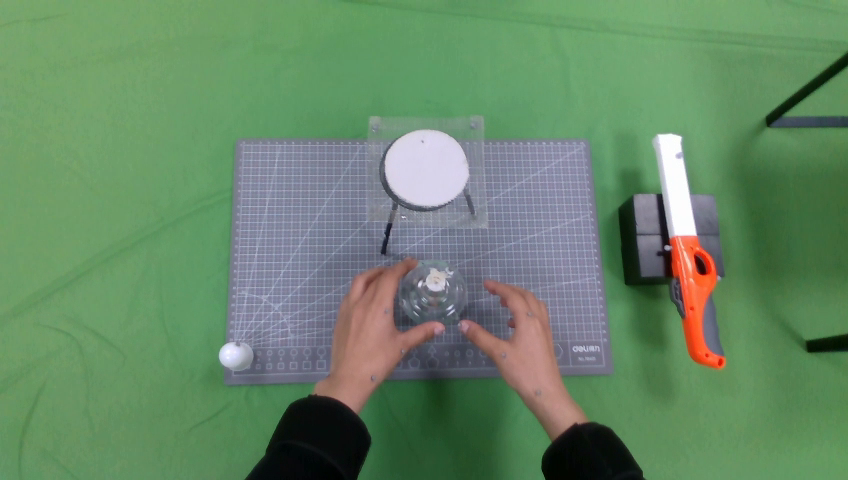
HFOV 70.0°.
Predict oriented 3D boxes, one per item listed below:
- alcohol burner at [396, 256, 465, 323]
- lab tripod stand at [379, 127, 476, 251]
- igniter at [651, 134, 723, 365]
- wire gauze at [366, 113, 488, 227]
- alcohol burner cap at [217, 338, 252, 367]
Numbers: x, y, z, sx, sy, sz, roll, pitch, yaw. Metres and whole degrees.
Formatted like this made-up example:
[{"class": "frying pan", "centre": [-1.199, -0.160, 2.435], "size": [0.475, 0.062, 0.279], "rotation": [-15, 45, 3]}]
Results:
[{"class": "alcohol burner", "centre": [0.008, 0.052, 0.669], "size": [0.078, 0.119, 0.077], "rotation": [1, 76, -2]}, {"class": "lab tripod stand", "centre": [-0.007, -0.062, 0.686], "size": [0.148, 0.132, 0.147], "rotation": [1, 75, -2]}, {"class": "igniter", "centre": [0.301, 0.006, 0.700], "size": [0.057, 0.025, 0.275], "rotation": [-1, 74, -8]}, {"class": "wire gauze", "centre": [0.003, -0.074, 0.620], "size": [0.125, 0.011, 0.121], "rotation": [2, 76, -3]}, {"class": "alcohol burner cap", "centre": [-0.213, 0.123, 0.672], "size": [0.034, 0.048, 0.033], "rotation": [1, 74, -4]}]
